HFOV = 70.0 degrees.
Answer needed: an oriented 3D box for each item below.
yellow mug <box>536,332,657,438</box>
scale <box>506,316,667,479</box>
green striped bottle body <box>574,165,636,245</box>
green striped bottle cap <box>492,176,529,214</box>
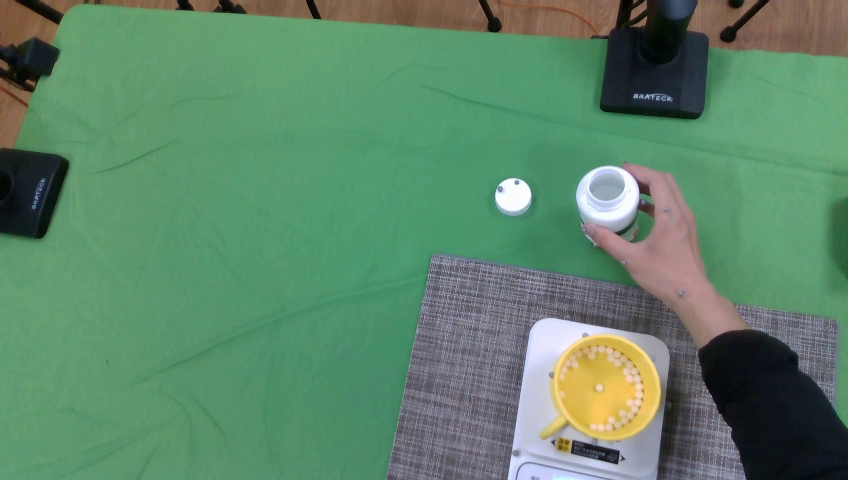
[{"bbox_3d":[0.164,0.155,0.608,0.131,0.064,0.099,-39,73,-2],"label":"yellow mug"},{"bbox_3d":[0.174,0.188,0.647,0.148,0.032,0.200,8,77,11],"label":"scale"},{"bbox_3d":[0.197,-0.039,0.659,0.063,0.120,0.063,-5,72,17],"label":"green striped bottle body"},{"bbox_3d":[0.105,-0.055,0.737,0.044,0.020,0.044,-1,80,9],"label":"green striped bottle cap"}]
